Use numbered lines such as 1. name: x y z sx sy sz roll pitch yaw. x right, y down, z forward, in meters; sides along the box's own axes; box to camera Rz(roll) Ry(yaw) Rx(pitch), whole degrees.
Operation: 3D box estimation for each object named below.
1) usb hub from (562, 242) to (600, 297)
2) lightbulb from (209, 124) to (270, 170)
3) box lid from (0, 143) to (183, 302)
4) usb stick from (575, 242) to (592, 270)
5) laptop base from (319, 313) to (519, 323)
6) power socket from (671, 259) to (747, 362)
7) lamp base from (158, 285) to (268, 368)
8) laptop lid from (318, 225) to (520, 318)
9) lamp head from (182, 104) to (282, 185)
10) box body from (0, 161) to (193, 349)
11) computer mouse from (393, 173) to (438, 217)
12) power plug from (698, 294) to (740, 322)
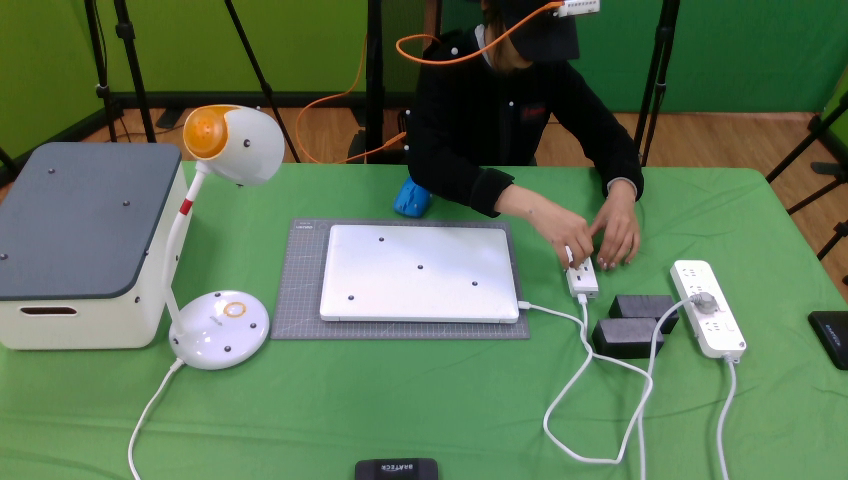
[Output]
1. usb hub: 0.300 0.055 1.162 0.049 0.025 0.124 2 46 -2
2. lightbulb: -0.260 -0.135 0.847 0.059 0.108 0.059 -4 79 19
3. box lid: -0.567 -0.045 0.999 0.263 0.015 0.369 -1 46 -4
4. usb stick: 0.296 0.031 1.129 0.027 0.059 0.021 1 44 4
5. laptop base: -0.009 0.063 1.137 0.354 0.023 0.234 1 43 -3
6. power socket: 0.517 0.119 1.108 0.072 0.033 0.225 0 46 -2
7. lamp base: -0.348 0.102 0.963 0.160 0.181 0.178 24 51 18
8. laptop lid: -0.009 0.053 1.130 0.357 0.013 0.240 2 43 -2
9. lamp head: -0.271 -0.133 0.825 0.112 0.112 0.123 20 8 15
10. box body: -0.570 0.006 1.054 0.254 0.161 0.361 -1 46 -4
11. computer mouse: -0.018 -0.098 1.282 0.062 0.041 0.117 20 52 13
12. power plug: 0.514 0.127 1.070 0.035 0.053 0.072 -16 56 -6
